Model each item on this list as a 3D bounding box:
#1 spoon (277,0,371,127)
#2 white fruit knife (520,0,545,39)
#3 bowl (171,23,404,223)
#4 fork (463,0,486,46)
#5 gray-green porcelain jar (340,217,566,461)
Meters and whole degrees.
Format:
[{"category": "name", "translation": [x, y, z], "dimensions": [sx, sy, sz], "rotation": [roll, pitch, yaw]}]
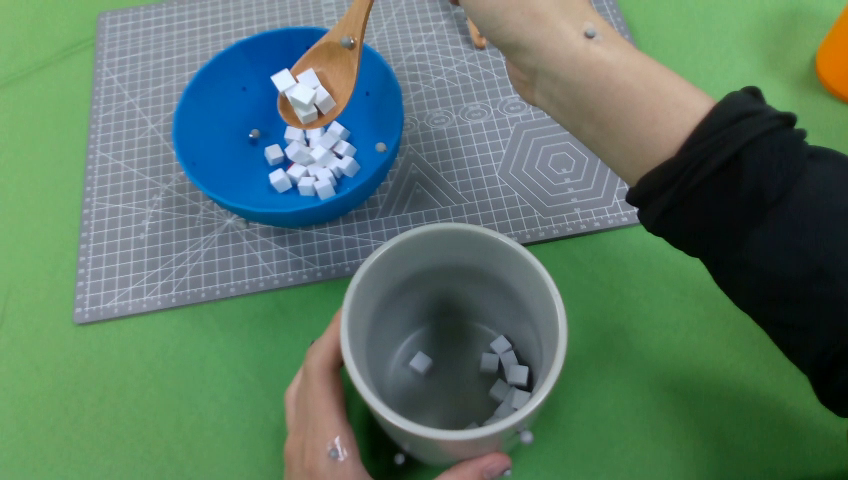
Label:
[{"category": "spoon", "translation": [-0.023, -0.146, 0.330], "dimensions": [0.041, 0.022, 0.194], "rotation": [39, 107, 15]}, {"category": "white fruit knife", "translation": [0.072, -0.270, 0.516], "dimensions": [0.016, 0.027, 0.206], "rotation": [-11, 78, -4]}, {"category": "bowl", "translation": [-0.086, -0.068, 0.424], "dimensions": [0.151, 0.077, 0.150], "rotation": [-1, 64, 3]}, {"category": "fork", "translation": [0.024, -0.263, 0.513], "dimensions": [0.028, 0.018, 0.206], "rotation": [-13, 83, -7]}, {"category": "gray-green porcelain jar", "translation": [0.016, 0.063, 0.334], "dimensions": [0.106, 0.127, 0.105], "rotation": [-1, 64, 3]}]
